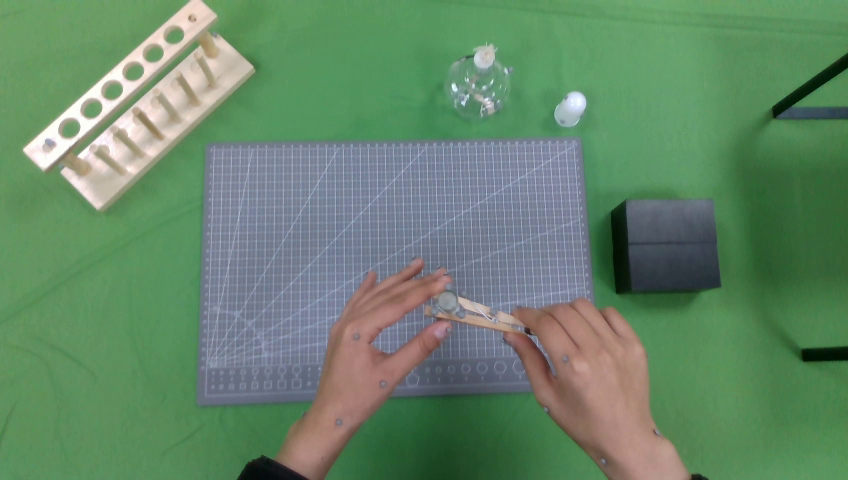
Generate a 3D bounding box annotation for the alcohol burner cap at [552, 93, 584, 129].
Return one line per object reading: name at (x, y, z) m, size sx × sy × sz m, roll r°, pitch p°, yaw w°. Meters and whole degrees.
alcohol burner cap at (0.175, -0.157, 0.729) m, size 0.034 × 0.048 × 0.033 m, roll 1°, pitch 78°, yaw -3°

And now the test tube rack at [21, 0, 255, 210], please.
test tube rack at (-0.310, -0.149, 0.680) m, size 0.066 × 0.085 × 0.242 m, roll 43°, pitch 80°, yaw 6°

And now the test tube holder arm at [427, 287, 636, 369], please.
test tube holder arm at (0.087, 0.072, 0.502) m, size 0.178 × 0.015 × 0.013 m, roll 17°, pitch 84°, yaw 8°

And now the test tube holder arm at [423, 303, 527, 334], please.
test tube holder arm at (0.043, 0.066, 0.507) m, size 0.087 × 0.015 × 0.010 m, roll 10°, pitch 83°, yaw 7°

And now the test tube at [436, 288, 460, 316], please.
test tube at (0.021, 0.054, 0.495) m, size 0.017 × 0.151 × 0.017 m, roll -1°, pitch 80°, yaw 4°

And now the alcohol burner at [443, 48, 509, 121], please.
alcohol burner at (0.062, -0.184, 0.692) m, size 0.078 × 0.119 × 0.077 m, roll 1°, pitch 78°, yaw -4°
